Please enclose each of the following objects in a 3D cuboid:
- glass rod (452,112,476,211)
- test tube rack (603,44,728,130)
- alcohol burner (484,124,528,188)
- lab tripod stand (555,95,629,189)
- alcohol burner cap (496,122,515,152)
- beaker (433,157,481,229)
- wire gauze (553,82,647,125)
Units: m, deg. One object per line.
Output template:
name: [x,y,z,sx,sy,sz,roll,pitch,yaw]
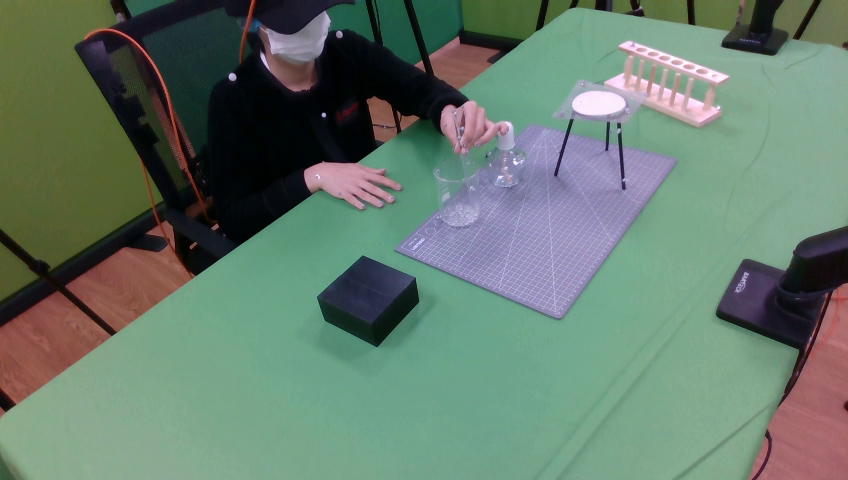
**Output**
glass rod: [0.066,-0.119,0.962,0.008,0.201,0.008,-9,44,9]
test tube rack: [0.480,-0.316,1.227,0.067,0.085,0.240,-28,44,-22]
alcohol burner: [0.144,-0.152,1.059,0.078,0.119,0.077,-3,41,3]
lab tripod stand: [0.300,-0.174,1.045,0.148,0.132,0.147,-5,38,5]
alcohol burner cap: [0.139,-0.179,1.037,0.034,0.048,0.033,-4,43,4]
beaker: [0.058,-0.077,0.994,0.073,0.101,0.084,19,46,29]
wire gauze: [0.293,-0.225,1.002,0.120,0.011,0.125,17,45,27]
